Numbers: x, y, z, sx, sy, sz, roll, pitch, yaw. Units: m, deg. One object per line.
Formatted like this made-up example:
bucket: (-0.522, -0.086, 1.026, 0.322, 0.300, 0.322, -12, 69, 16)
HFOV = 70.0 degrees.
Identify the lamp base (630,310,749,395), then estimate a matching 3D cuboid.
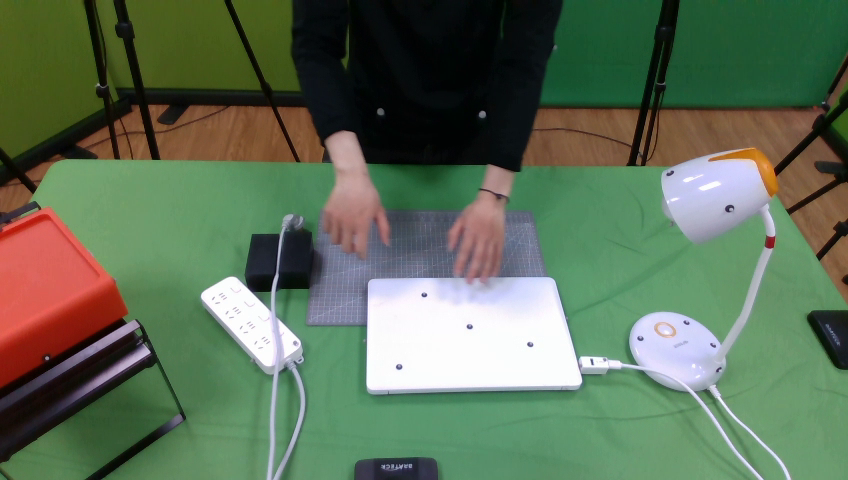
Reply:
lamp base: (0.447, 0.142, 0.984, 0.161, 0.181, 0.178, -24, 55, -24)

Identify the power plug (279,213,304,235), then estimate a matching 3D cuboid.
power plug: (-0.263, -0.022, 1.184, 0.035, 0.053, 0.072, 9, 49, 32)

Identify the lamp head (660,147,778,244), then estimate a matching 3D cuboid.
lamp head: (0.389, -0.063, 0.785, 0.123, 0.113, 0.112, -22, 33, 37)

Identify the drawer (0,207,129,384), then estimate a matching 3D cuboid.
drawer: (-0.539, 0.074, 0.798, 0.193, 0.073, 0.211, 37, 55, 27)

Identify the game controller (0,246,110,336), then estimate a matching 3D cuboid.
game controller: (-0.511, 0.062, 0.830, 0.097, 0.052, 0.154, -30, 58, -32)

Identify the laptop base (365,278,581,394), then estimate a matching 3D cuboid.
laptop base: (0.076, 0.162, 1.053, 0.355, 0.023, 0.234, 0, 44, -4)

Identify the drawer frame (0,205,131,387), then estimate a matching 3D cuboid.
drawer frame: (-0.539, 0.075, 0.795, 0.200, 0.083, 0.213, 36, 54, 26)

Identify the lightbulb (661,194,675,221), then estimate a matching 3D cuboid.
lightbulb: (0.370, -0.060, 0.807, 0.060, 0.107, 0.059, 19, 59, -36)

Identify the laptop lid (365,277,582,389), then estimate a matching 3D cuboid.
laptop lid: (0.077, 0.152, 1.046, 0.357, 0.013, 0.240, 1, 45, -3)

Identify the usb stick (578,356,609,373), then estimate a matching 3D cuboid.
usb stick: (0.274, 0.207, 1.007, 0.059, 0.027, 0.021, -1, 52, 0)

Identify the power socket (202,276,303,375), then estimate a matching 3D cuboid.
power socket: (-0.296, 0.142, 1.034, 0.072, 0.033, 0.225, -34, 58, -30)
